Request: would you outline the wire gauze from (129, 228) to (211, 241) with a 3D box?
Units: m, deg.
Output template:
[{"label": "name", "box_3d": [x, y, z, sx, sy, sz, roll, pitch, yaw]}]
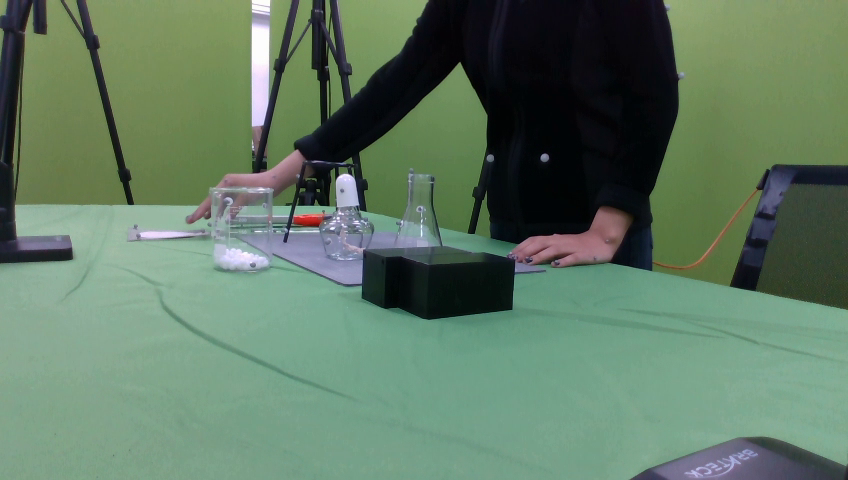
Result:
[{"label": "wire gauze", "box_3d": [-0.419, -0.010, 0.999, 0.122, 0.011, 0.124, 0, 6, -25]}]

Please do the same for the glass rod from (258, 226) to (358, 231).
[{"label": "glass rod", "box_3d": [-0.216, -0.022, 1.152, 0.201, 0.008, 0.008, -2, 8, -28]}]

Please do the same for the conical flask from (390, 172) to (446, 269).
[{"label": "conical flask", "box_3d": [-0.006, -0.027, 0.790, 0.075, 0.122, 0.075, 2, 7, 0]}]

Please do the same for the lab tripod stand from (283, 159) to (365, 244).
[{"label": "lab tripod stand", "box_3d": [-0.151, -0.063, 0.983, 0.148, 0.131, 0.148, 4, 7, 0]}]

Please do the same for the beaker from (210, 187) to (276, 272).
[{"label": "beaker", "box_3d": [-0.224, -0.014, 0.738, 0.084, 0.100, 0.074, 4, 7, 16]}]

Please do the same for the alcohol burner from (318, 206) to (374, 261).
[{"label": "alcohol burner", "box_3d": [-0.107, -0.032, 0.833, 0.078, 0.119, 0.078, 1, 6, 0]}]

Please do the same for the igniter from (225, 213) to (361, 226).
[{"label": "igniter", "box_3d": [-0.257, -0.042, 1.221, 0.278, 0.025, 0.057, -2, -2, -33]}]

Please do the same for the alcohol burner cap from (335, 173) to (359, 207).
[{"label": "alcohol burner cap", "box_3d": [-0.108, -0.068, 0.829, 0.034, 0.048, 0.034, -7, 4, 1]}]
